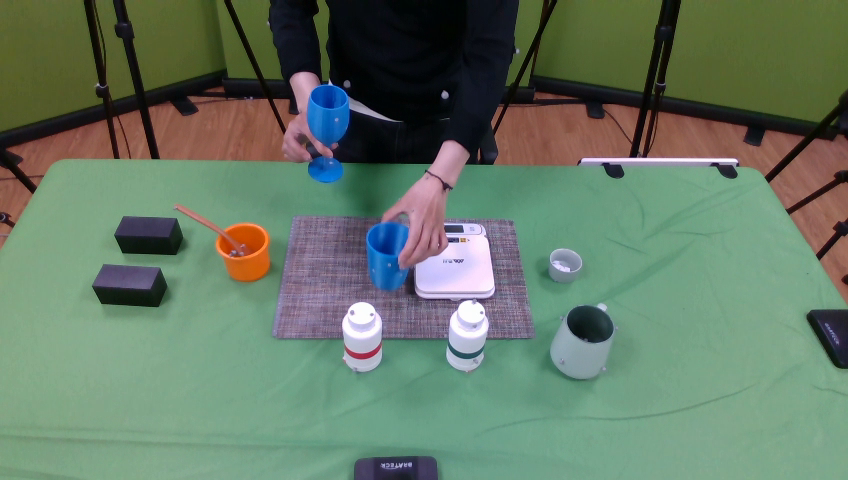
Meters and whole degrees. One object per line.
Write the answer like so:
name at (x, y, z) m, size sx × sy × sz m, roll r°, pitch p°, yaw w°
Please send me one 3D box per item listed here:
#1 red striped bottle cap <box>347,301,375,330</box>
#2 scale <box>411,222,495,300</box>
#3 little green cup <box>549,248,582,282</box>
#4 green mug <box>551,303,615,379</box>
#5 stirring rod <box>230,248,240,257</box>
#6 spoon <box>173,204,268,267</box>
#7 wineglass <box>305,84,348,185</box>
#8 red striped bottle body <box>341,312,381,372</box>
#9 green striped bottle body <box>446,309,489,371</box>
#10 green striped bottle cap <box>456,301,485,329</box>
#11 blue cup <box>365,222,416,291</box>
red striped bottle cap at (-0.097, 0.116, 0.934) m, size 0.044 × 0.018 × 0.044 m, roll 3°, pitch 49°, yaw -3°
scale at (0.052, 0.031, 1.158) m, size 0.149 × 0.032 × 0.199 m, roll 1°, pitch 46°, yaw -4°
little green cup at (0.268, 0.050, 1.156) m, size 0.061 × 0.039 × 0.061 m, roll 1°, pitch 46°, yaw -1°
green mug at (0.271, 0.157, 1.007) m, size 0.092 × 0.105 × 0.125 m, roll 27°, pitch 50°, yaw 21°
stirring rod at (-0.330, 0.023, 1.059) m, size 0.014 × 0.176 × 0.006 m, roll 33°, pitch 79°, yaw -12°
spoon at (-0.363, -0.009, 1.089) m, size 0.021 × 0.195 × 0.041 m, roll -35°, pitch 31°, yaw 22°
wineglass at (-0.170, -0.182, 1.053) m, size 0.074 × 0.173 × 0.073 m, roll 6°, pitch 52°, yaw -7°
red striped bottle body at (-0.100, 0.154, 0.972) m, size 0.063 × 0.120 × 0.062 m, roll 2°, pitch 46°, yaw -2°
green striped bottle body at (0.070, 0.155, 0.984) m, size 0.063 × 0.120 × 0.063 m, roll 2°, pitch 46°, yaw -2°
green striped bottle cap at (0.073, 0.116, 0.943) m, size 0.044 × 0.020 × 0.044 m, roll 3°, pitch 46°, yaw -3°
blue cup at (-0.061, 0.035, 1.047) m, size 0.093 × 0.100 × 0.092 m, roll 4°, pitch 44°, yaw -4°
